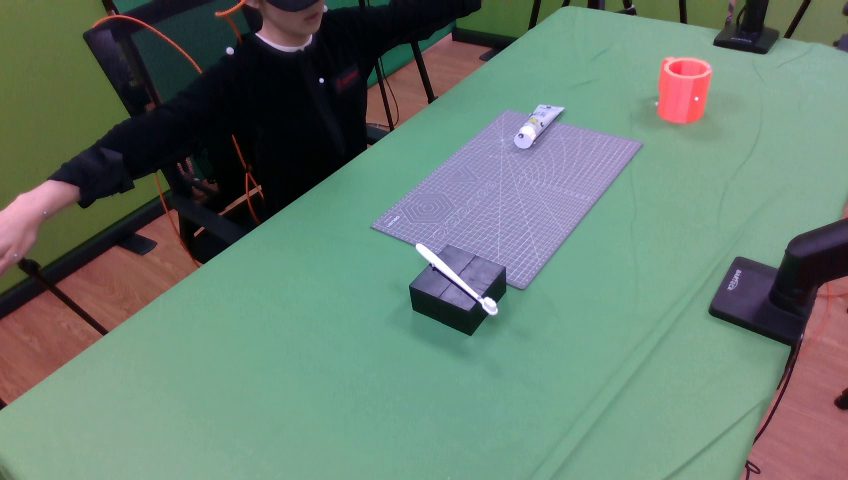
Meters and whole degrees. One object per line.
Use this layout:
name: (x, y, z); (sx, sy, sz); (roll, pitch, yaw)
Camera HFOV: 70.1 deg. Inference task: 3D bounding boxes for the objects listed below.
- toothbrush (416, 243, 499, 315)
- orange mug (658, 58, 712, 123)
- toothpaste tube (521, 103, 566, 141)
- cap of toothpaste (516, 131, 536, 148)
toothbrush: (0.043, 0.049, 0.842); (0.014, 0.017, 0.180); (-31, 45, -21)
orange mug: (0.504, -0.304, 1.193); (0.083, 0.101, 0.125); (-13, 45, -5)
toothpaste tube: (0.234, -0.238, 1.209); (0.055, 0.034, 0.165); (19, 43, 21)
cap of toothpaste: (0.194, -0.193, 1.153); (0.037, 0.037, 0.011); (7, 44, 16)
